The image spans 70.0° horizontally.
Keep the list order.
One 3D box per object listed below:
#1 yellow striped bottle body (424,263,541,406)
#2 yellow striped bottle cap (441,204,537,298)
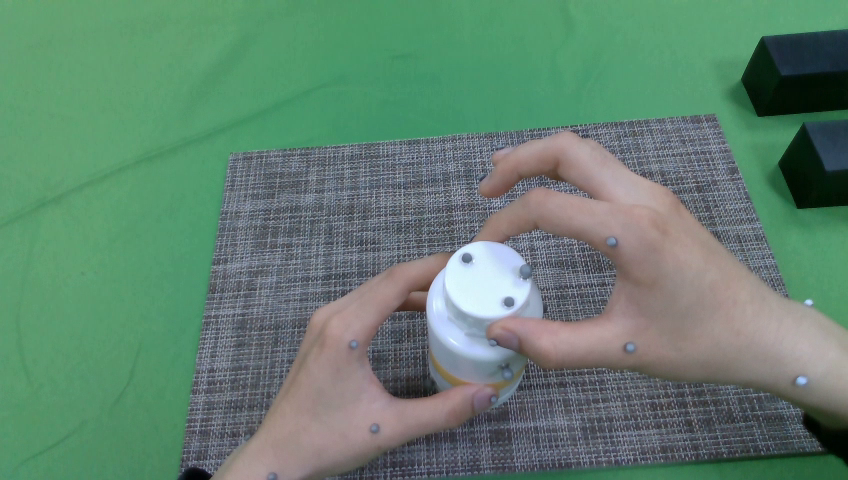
[{"bbox_3d":[0.031,0.050,0.350,0.063,0.121,0.062,0,60,1],"label":"yellow striped bottle body"},{"bbox_3d":[0.030,0.005,0.285,0.044,0.019,0.044,-4,54,5],"label":"yellow striped bottle cap"}]
